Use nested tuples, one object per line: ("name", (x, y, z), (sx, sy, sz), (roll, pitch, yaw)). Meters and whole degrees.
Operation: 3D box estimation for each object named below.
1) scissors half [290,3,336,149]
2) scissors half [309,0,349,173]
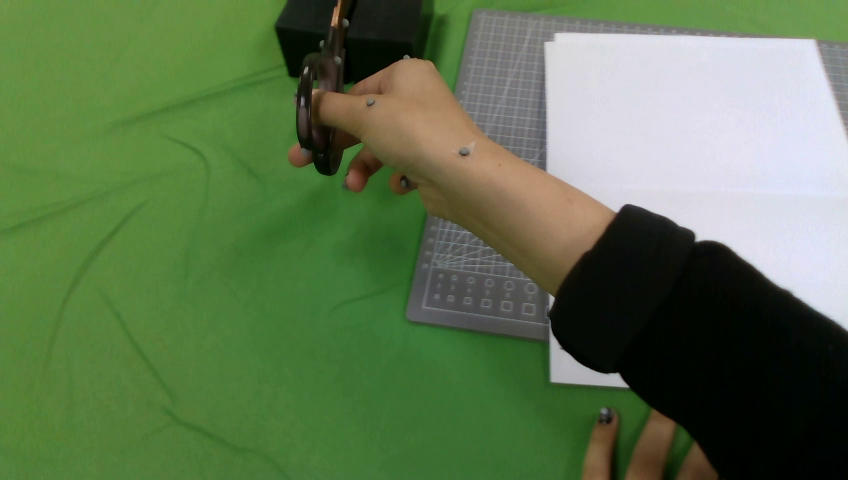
("scissors half", (-0.059, -0.134, 0.376), (0.013, 0.040, 0.174), (3, 63, 9))
("scissors half", (-0.055, -0.127, 0.395), (0.013, 0.040, 0.174), (2, 81, 14))
